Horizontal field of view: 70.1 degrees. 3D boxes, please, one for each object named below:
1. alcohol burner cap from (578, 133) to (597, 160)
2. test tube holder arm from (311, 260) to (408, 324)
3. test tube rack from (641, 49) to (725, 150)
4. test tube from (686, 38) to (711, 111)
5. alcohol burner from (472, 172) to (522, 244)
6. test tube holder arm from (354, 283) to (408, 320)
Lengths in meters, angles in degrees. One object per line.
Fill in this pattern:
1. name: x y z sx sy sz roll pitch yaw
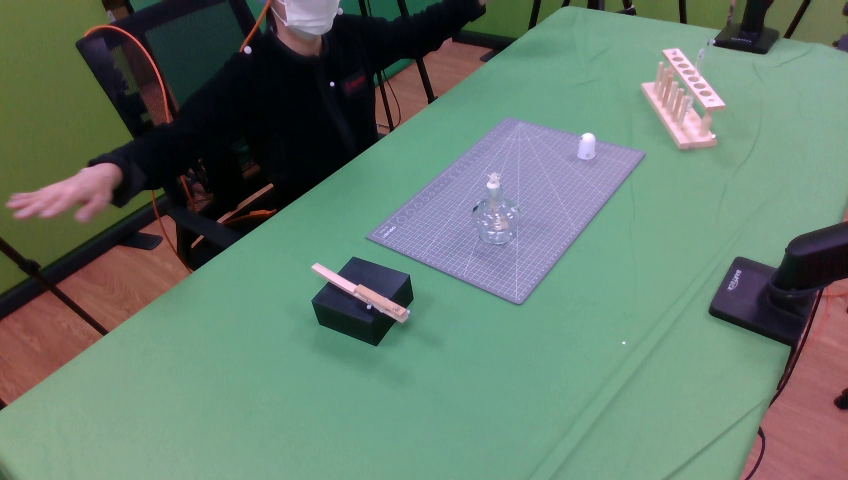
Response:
1. alcohol burner cap: 0.301 -0.174 1.111 0.034 0.048 0.033 -5 41 4
2. test tube holder arm: -0.092 0.069 0.832 0.177 0.013 0.015 26 52 31
3. test tube rack: 0.495 -0.279 1.175 0.067 0.085 0.241 -5 41 3
4. test tube: 0.508 -0.305 1.128 0.017 0.151 0.017 -2 46 3
5. alcohol burner: 0.112 -0.053 0.942 0.078 0.119 0.077 -6 40 5
6. test tube holder arm: -0.059 0.081 0.805 0.087 0.010 0.015 26 52 32
